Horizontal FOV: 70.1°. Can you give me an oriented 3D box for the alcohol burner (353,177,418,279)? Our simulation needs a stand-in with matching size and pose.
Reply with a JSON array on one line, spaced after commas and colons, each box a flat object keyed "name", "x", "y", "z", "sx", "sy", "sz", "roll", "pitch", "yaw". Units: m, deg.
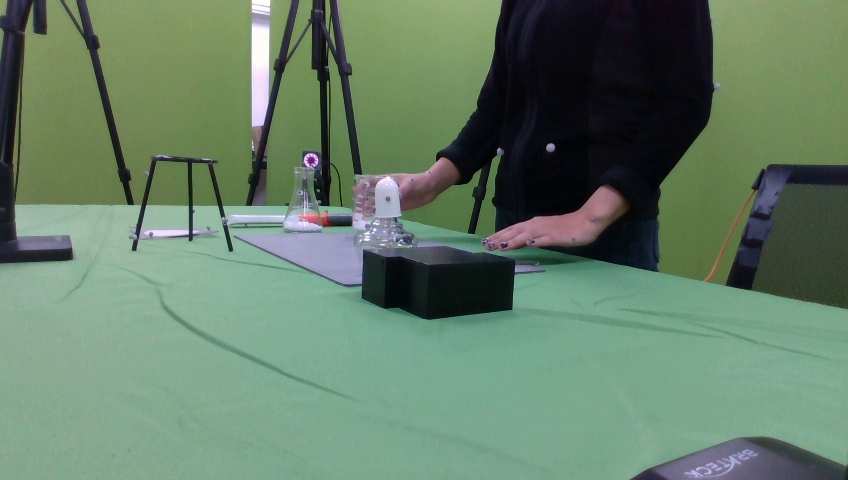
[{"name": "alcohol burner", "x": -0.044, "y": -0.014, "z": 0.710, "sx": 0.078, "sy": 0.119, "sz": 0.078, "roll": 4, "pitch": 9, "yaw": 0}]

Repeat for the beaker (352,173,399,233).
[{"name": "beaker", "x": -0.090, "y": -0.065, "z": 1.064, "sx": 0.083, "sy": 0.100, "sz": 0.074, "roll": 10, "pitch": 9, "yaw": 27}]

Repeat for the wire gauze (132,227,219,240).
[{"name": "wire gauze", "x": -0.421, "y": -0.014, "z": 1.024, "sx": 0.122, "sy": 0.011, "sz": 0.124, "roll": -2, "pitch": 7, "yaw": -34}]

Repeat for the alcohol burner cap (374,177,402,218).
[{"name": "alcohol burner cap", "x": -0.044, "y": -0.049, "z": 0.704, "sx": 0.034, "sy": 0.048, "sz": 0.034, "roll": -4, "pitch": 9, "yaw": 1}]

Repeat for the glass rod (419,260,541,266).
[{"name": "glass rod", "x": 0.080, "y": 0.031, "z": 0.807, "sx": 0.201, "sy": 0.008, "sz": 0.008, "roll": 1, "pitch": 7, "yaw": -32}]

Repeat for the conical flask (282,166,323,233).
[{"name": "conical flask", "x": -0.225, "y": -0.076, "z": 1.129, "sx": 0.075, "sy": 0.122, "sz": 0.075, "roll": 2, "pitch": 8, "yaw": 0}]

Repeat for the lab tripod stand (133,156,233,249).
[{"name": "lab tripod stand", "x": -0.342, "y": -0.054, "z": 0.878, "sx": 0.148, "sy": 0.131, "sz": 0.148, "roll": 4, "pitch": 6, "yaw": 0}]

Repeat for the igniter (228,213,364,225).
[{"name": "igniter", "x": -0.252, "y": -0.043, "z": 1.226, "sx": 0.278, "sy": 0.025, "sz": 0.057, "roll": -2, "pitch": -3, "yaw": -32}]
